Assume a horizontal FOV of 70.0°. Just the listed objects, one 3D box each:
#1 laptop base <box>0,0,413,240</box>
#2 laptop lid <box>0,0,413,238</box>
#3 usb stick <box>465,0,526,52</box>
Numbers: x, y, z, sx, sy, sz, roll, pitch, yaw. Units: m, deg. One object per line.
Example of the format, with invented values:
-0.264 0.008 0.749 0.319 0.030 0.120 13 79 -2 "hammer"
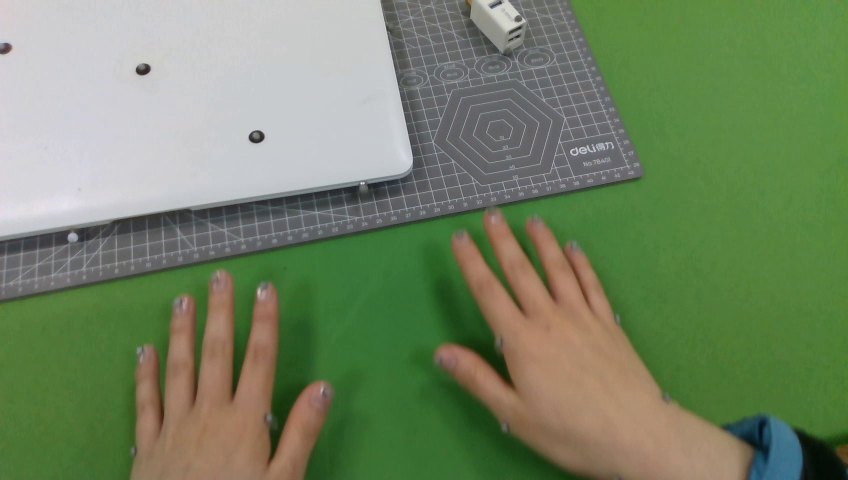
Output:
-0.199 -0.118 0.449 0.355 0.023 0.233 -10 68 -5 "laptop base"
-0.199 -0.121 0.437 0.357 0.013 0.239 -8 67 -4 "laptop lid"
0.053 -0.176 0.472 0.021 0.027 0.058 -31 66 -13 "usb stick"
